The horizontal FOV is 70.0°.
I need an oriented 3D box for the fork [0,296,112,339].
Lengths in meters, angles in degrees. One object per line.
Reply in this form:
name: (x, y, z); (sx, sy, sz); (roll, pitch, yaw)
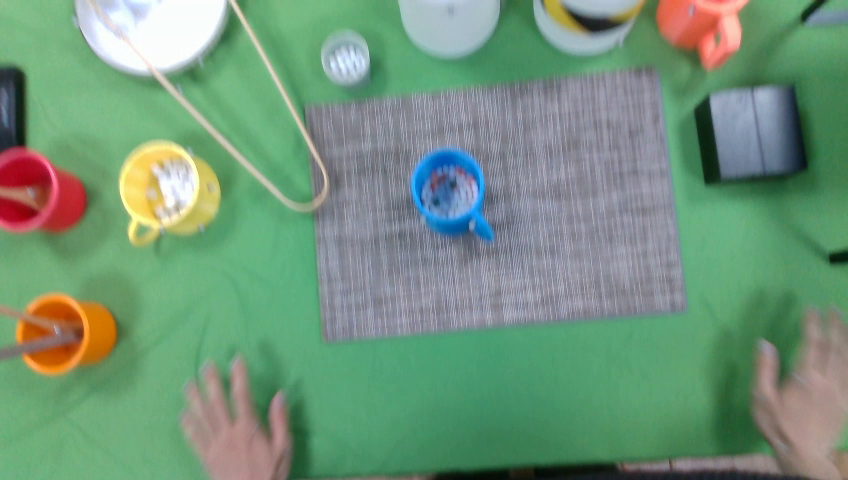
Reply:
fork: (-0.478, 0.078, 0.716); (0.209, 0.018, 0.028); (29, 80, -38)

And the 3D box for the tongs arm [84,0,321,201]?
tongs arm: (-0.282, -0.184, 0.764); (0.051, 0.026, 0.385); (-43, 91, -4)

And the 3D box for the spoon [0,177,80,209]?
spoon: (-0.530, -0.068, 0.736); (0.195, 0.021, 0.041); (7, 87, -39)

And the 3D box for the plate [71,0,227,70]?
plate: (-0.357, -0.322, 0.801); (0.207, 0.039, 0.207); (0, 85, 4)

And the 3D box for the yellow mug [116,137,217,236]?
yellow mug: (-0.330, -0.060, 0.762); (0.100, 0.064, 0.131); (33, 89, 5)

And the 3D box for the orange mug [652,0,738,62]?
orange mug: (0.336, -0.283, 0.725); (0.083, 0.101, 0.125); (-15, 80, 3)

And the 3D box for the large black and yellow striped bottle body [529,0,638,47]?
large black and yellow striped bottle body: (0.194, -0.318, 0.693); (0.131, 0.184, 0.130); (0, 84, 4)

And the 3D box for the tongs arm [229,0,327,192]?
tongs arm: (-0.216, -0.236, 0.768); (0.028, 0.028, 0.387); (-29, 90, -8)

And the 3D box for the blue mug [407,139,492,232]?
blue mug: (0.038, -0.053, 0.715); (0.082, 0.106, 0.116); (-44, 84, -1)

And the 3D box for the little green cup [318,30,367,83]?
little green cup: (-0.102, -0.233, 0.777); (0.061, 0.039, 0.061); (0, 85, 3)

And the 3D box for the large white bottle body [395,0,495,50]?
large white bottle body: (0.022, -0.318, 0.703); (0.130, 0.185, 0.130); (0, 84, 4)

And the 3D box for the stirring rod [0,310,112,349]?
stirring rod: (-0.466, 0.112, 0.718); (0.177, 0.006, 0.014); (-15, 77, -40)
